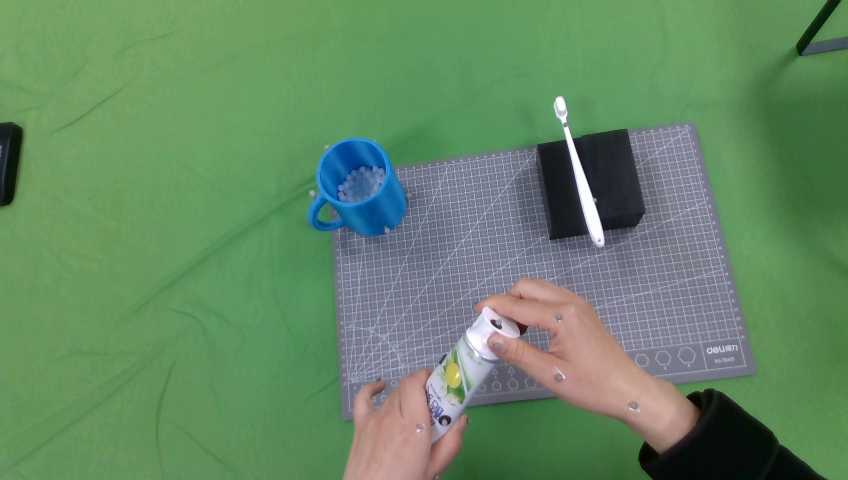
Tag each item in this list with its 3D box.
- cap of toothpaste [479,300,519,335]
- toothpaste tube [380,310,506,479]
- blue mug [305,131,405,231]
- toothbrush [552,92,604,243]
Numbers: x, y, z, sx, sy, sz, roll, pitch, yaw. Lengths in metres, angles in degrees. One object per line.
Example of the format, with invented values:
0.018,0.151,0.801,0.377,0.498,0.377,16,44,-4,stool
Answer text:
0.055,0.061,0.464,0.037,0.037,0.011,39,111,16,cap of toothpaste
0.014,0.121,0.496,0.165,0.035,0.054,-57,45,21,toothpaste tube
-0.084,-0.056,0.696,0.116,0.106,0.082,-35,72,-3,blue mug
0.169,-0.083,0.665,0.014,0.017,0.180,-11,73,-1,toothbrush
